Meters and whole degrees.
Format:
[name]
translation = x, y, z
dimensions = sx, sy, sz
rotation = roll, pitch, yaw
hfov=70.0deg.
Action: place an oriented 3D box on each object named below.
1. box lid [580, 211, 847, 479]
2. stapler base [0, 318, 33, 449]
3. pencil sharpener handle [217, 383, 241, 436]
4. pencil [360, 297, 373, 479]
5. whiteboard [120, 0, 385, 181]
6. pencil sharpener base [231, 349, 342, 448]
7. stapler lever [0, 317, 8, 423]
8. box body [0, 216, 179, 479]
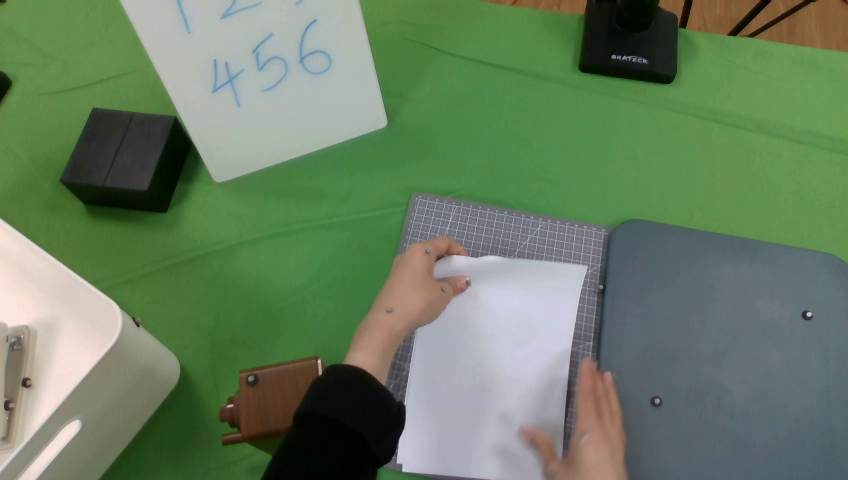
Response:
[box lid]
translation = 0.296, 0.149, 0.595
dimensions = 0.263, 0.015, 0.369
rotation = 11, 66, 4
[stapler base]
translation = -0.416, 0.138, 0.594
dimensions = 0.041, 0.024, 0.129
rotation = -9, 67, -1
[pencil sharpener handle]
translation = -0.171, 0.153, 0.531
dimensions = 0.031, 0.068, 0.035
rotation = -10, 49, -3
[pencil]
translation = -0.056, 0.147, 0.599
dimensions = 0.012, 0.012, 0.192
rotation = -2, 65, 0
[whiteboard]
translation = -0.191, -0.255, 0.659
dimensions = 0.217, 0.308, 0.142
rotation = -20, 47, -8
[pencil sharpener base]
translation = -0.121, 0.146, 0.548
dimensions = 0.077, 0.108, 0.061
rotation = -10, 65, -3
[stapler lever]
translation = -0.416, 0.129, 0.570
dimensions = 0.027, 0.040, 0.117
rotation = -9, 68, -1
[box body]
translation = -0.444, 0.097, 0.543
dimensions = 0.362, 0.161, 0.253
rotation = 30, 69, 14
